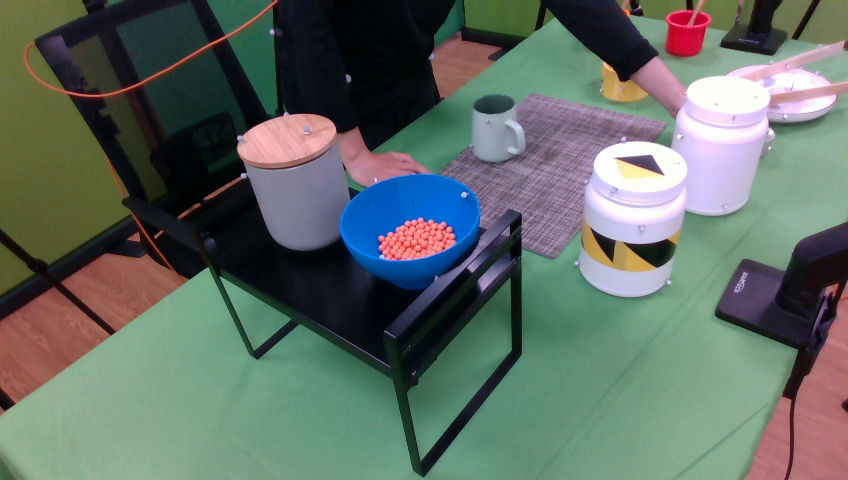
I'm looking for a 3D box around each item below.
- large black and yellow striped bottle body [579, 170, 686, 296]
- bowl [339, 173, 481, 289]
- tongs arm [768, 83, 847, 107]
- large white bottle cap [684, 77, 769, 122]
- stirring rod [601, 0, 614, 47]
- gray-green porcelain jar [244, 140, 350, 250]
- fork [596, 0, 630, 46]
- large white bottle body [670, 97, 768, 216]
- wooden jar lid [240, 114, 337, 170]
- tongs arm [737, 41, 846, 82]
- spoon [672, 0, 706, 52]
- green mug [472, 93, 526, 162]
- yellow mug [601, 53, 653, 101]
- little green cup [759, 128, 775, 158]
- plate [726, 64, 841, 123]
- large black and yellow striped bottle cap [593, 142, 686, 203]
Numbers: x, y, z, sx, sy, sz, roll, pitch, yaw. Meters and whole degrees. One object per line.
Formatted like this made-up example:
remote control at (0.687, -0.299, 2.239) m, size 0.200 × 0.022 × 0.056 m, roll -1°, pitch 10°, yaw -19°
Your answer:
large black and yellow striped bottle body at (0.287, -0.027, 0.841) m, size 0.131 × 0.185 × 0.130 m, roll -4°, pitch 41°, yaw 4°
bowl at (-0.011, 0.001, 0.660) m, size 0.151 × 0.077 × 0.150 m, roll -5°, pitch 41°, yaw 5°
tongs arm at (0.739, -0.280, 1.134) m, size 0.388 × 0.028 × 0.028 m, roll -9°, pitch 47°, yaw -6°
large white bottle cap at (0.448, -0.209, 0.898) m, size 0.115 × 0.018 × 0.114 m, roll -4°, pitch 40°, yaw 4°
stirring rod at (0.439, -0.552, 1.463) m, size 0.014 × 0.006 × 0.175 m, roll -7°, pitch 83°, yaw 2°
gray-green porcelain jar at (-0.144, -0.060, 0.714) m, size 0.106 × 0.127 × 0.105 m, roll -4°, pitch 41°, yaw 4°
fork at (0.481, -0.556, 1.452) m, size 0.028 × 0.019 × 0.207 m, roll 40°, pitch 103°, yaw 39°
large white bottle body at (0.458, -0.146, 0.952) m, size 0.130 × 0.185 × 0.130 m, roll -4°, pitch 40°, yaw 4°
wooden jar lid at (-0.149, -0.106, 0.674) m, size 0.108 × 0.021 × 0.108 m, roll -6°, pitch 38°, yaw 5°
tongs arm at (0.712, -0.331, 1.194) m, size 0.386 × 0.026 × 0.050 m, roll -19°, pitch 45°, yaw -16°
spoon at (0.629, -0.520, 1.394) m, size 0.041 × 0.022 × 0.193 m, roll 29°, pitch 97°, yaw 34°
green mug at (0.144, -0.202, 1.122) m, size 0.093 × 0.105 × 0.124 m, roll -29°, pitch 45°, yaw -23°
yellow mug at (0.423, -0.354, 1.292) m, size 0.100 × 0.064 × 0.129 m, roll -23°, pitch 41°, yaw -16°
little green cup at (0.588, -0.175, 1.080) m, size 0.061 × 0.039 × 0.061 m, roll -5°, pitch 39°, yaw 5°
plate at (0.695, -0.282, 1.189) m, size 0.207 × 0.039 × 0.206 m, roll -4°, pitch 40°, yaw 4°
large black and yellow striped bottle cap at (0.280, -0.090, 0.786) m, size 0.115 × 0.019 × 0.114 m, roll -5°, pitch 41°, yaw 5°
